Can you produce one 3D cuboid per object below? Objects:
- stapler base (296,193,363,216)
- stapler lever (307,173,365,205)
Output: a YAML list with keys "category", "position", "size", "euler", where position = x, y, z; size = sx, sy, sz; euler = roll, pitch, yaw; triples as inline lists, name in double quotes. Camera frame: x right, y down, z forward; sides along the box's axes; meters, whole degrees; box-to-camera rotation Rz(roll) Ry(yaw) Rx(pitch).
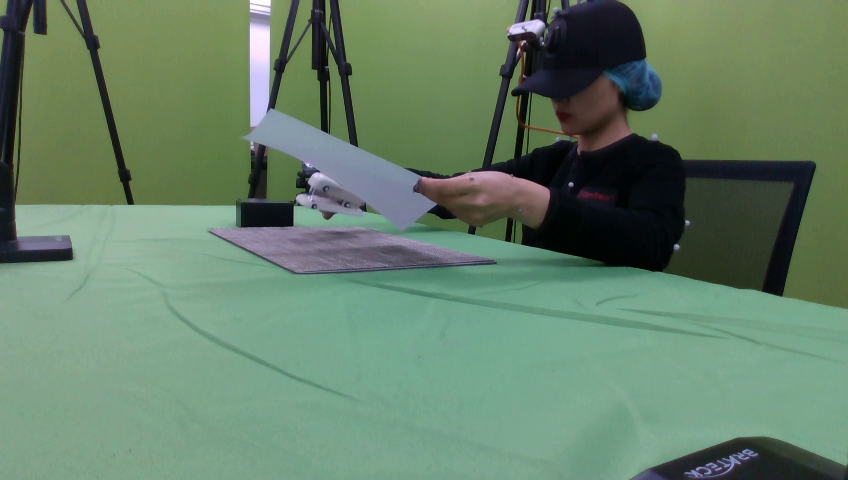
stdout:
- category: "stapler base"
  position: [-0.163, -0.068, 1.066]
  size: [0.131, 0.024, 0.041]
  euler: [9, 25, -46]
- category: "stapler lever"
  position: [-0.152, -0.089, 1.060]
  size: [0.119, 0.040, 0.026]
  euler: [8, 26, -46]
